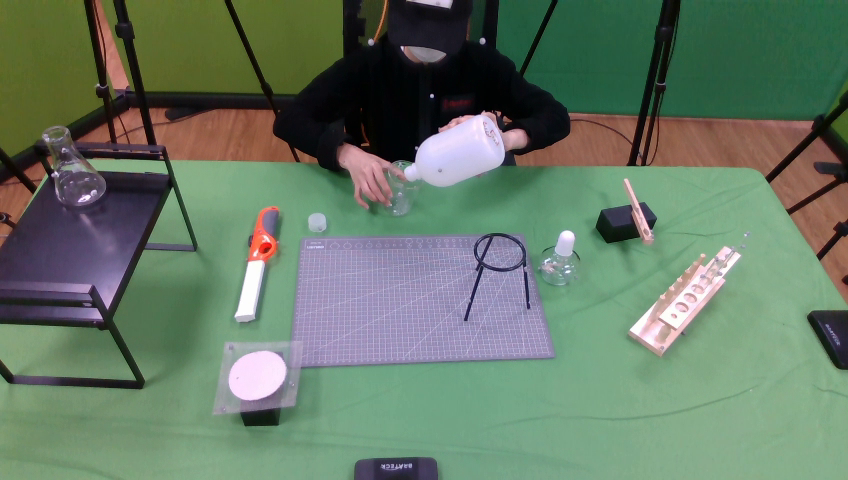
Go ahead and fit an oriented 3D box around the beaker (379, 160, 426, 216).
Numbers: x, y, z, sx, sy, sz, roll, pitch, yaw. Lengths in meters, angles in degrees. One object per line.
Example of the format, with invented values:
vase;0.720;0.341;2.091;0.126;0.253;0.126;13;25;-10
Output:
beaker;-0.046;-0.103;1.231;0.084;0.100;0.073;4;54;-18

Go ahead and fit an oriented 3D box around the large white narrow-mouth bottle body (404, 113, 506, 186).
large white narrow-mouth bottle body;0.048;-0.158;1.143;0.194;0.102;0.101;-20;38;28

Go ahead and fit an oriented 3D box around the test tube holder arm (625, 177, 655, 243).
test tube holder arm;0.433;-0.063;1.220;0.013;0.015;0.177;1;47;-3

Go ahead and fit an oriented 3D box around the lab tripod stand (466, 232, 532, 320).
lab tripod stand;0.125;0.059;1.065;0.148;0.132;0.147;1;45;0

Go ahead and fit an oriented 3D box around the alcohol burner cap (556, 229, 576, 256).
alcohol burner cap;0.260;0.002;1.098;0.034;0.048;0.033;3;40;-2

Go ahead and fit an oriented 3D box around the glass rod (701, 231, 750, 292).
glass rod;0.519;0.045;1.050;0.008;0.201;0.008;0;55;0

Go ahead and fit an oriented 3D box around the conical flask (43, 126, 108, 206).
conical flask;-0.555;-0.119;0.953;0.075;0.122;0.075;2;46;-2

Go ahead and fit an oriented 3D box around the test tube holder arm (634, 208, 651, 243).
test tube holder arm;0.428;-0.030;1.189;0.010;0.015;0.087;1;47;-2

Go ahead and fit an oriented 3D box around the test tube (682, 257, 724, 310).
test tube;0.475;0.080;1.037;0.017;0.151;0.017;2;51;-2

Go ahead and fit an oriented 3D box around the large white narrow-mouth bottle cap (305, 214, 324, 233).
large white narrow-mouth bottle cap;-0.219;-0.033;1.214;0.038;0.024;0.037;2;46;-2

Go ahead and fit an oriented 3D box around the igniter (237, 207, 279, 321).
igniter;-0.309;0.036;1.136;0.057;0.025;0.274;-7;45;5

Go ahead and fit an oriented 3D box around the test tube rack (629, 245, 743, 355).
test tube rack;0.474;0.095;1.091;0.242;0.085;0.066;-34;56;-31

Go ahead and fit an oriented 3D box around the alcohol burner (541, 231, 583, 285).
alcohol burner;0.258;0.028;1.123;0.078;0.120;0.077;1;48;-1

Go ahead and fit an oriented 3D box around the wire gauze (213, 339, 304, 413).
wire gauze;-0.250;0.203;0.924;0.121;0.011;0.124;-1;46;-3
